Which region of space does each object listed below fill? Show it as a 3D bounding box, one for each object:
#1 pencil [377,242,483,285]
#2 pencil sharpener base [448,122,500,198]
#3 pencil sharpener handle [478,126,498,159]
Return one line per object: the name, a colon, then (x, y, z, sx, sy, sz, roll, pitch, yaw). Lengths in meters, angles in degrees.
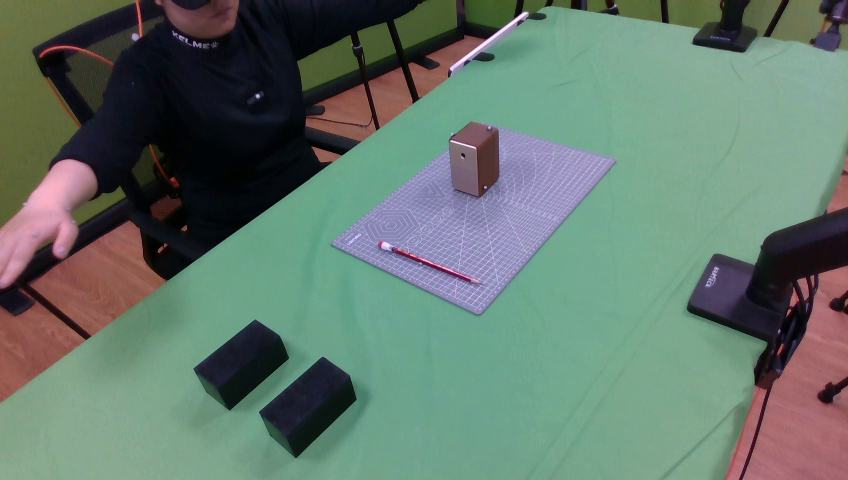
pencil: (0.006, 0.036, 0.930, 0.192, 0.012, 0.012, 20, 47, 27)
pencil sharpener base: (0.090, -0.141, 1.052, 0.061, 0.107, 0.077, 20, 47, 30)
pencil sharpener handle: (0.119, -0.179, 1.075, 0.035, 0.068, 0.031, 21, 48, 29)
